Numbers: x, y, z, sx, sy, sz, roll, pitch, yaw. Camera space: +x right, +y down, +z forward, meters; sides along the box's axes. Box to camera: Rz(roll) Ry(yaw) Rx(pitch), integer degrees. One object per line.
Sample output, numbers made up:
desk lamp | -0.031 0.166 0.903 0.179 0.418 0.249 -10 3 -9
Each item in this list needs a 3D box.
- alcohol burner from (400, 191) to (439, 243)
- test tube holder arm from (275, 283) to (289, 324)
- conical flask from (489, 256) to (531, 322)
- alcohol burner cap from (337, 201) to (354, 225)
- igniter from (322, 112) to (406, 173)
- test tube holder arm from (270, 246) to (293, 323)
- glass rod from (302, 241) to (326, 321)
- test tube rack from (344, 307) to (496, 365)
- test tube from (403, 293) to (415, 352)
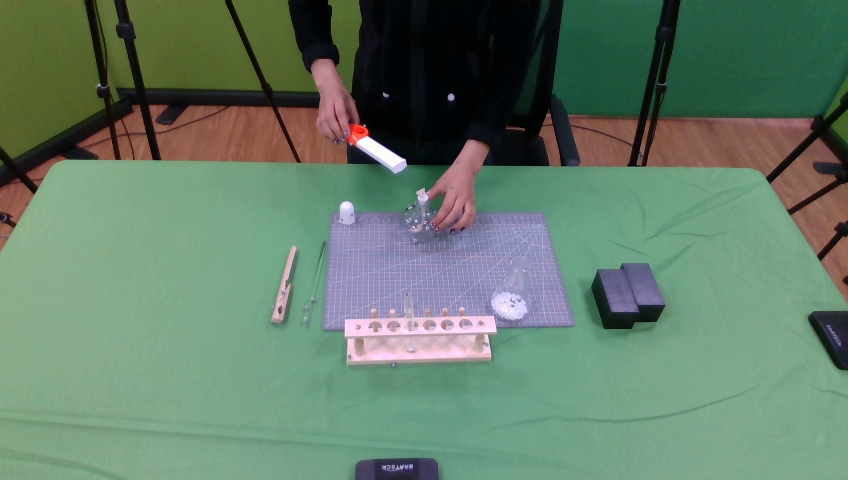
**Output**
alcohol burner | -0.007 -0.052 1.182 0.078 0.119 0.077 3 47 -3
test tube holder arm | -0.253 0.111 1.077 0.010 0.015 0.087 28 38 -26
conical flask | 0.158 0.081 1.061 0.075 0.122 0.075 2 46 -2
alcohol burner cap | -0.159 -0.056 1.224 0.034 0.048 0.033 2 46 -2
igniter | -0.126 -0.197 1.189 0.057 0.025 0.275 -31 44 -22
test tube holder arm | -0.259 0.076 1.106 0.013 0.015 0.177 28 38 -27
glass rod | -0.203 0.071 1.124 0.008 0.008 0.198 4 44 1
test tube rack | -0.009 0.154 1.007 0.242 0.085 0.066 -1 46 -5
test tube | -0.024 0.133 0.957 0.017 0.151 0.017 0 49 0
